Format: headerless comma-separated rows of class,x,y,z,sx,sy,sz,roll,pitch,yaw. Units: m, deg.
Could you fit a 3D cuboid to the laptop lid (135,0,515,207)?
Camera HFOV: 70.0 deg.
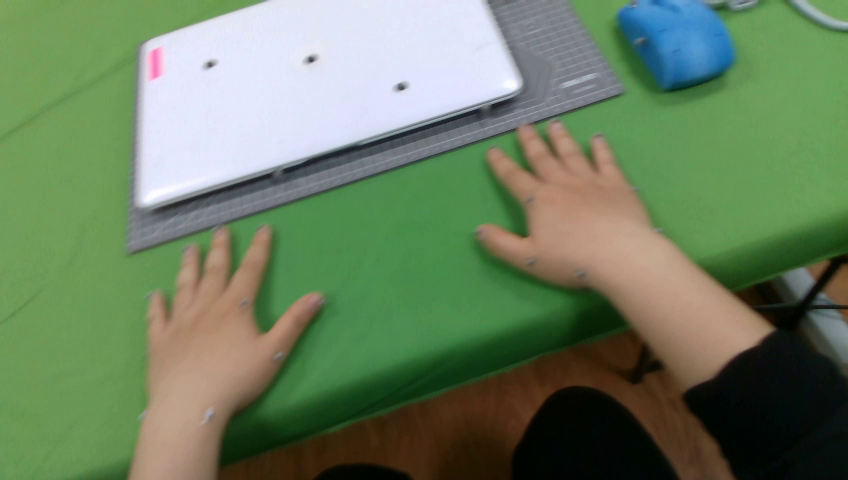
laptop lid,-0.113,-0.173,0.587,0.357,0.013,0.239,-16,58,1

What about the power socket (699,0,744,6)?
power socket,0.260,-0.315,0.604,0.072,0.033,0.224,-16,56,3

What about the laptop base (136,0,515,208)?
laptop base,-0.112,-0.169,0.598,0.354,0.023,0.233,-18,59,0

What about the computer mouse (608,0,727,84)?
computer mouse,0.211,-0.187,0.530,0.063,0.041,0.116,-19,52,3
